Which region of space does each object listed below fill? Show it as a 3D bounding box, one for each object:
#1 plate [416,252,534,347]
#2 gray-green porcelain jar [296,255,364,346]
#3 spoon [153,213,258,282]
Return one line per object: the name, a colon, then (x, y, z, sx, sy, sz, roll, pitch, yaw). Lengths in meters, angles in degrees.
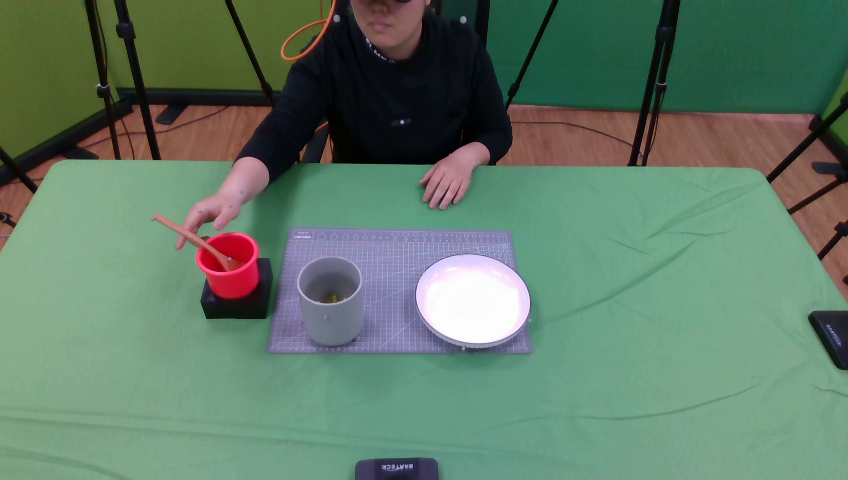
plate: (0.090, 0.109, 1.084, 0.208, 0.039, 0.206, 2, 46, -2)
gray-green porcelain jar: (-0.154, 0.106, 1.008, 0.106, 0.127, 0.105, 2, 46, -2)
spoon: (-0.360, 0.012, 1.005, 0.195, 0.021, 0.041, 41, 37, -26)
